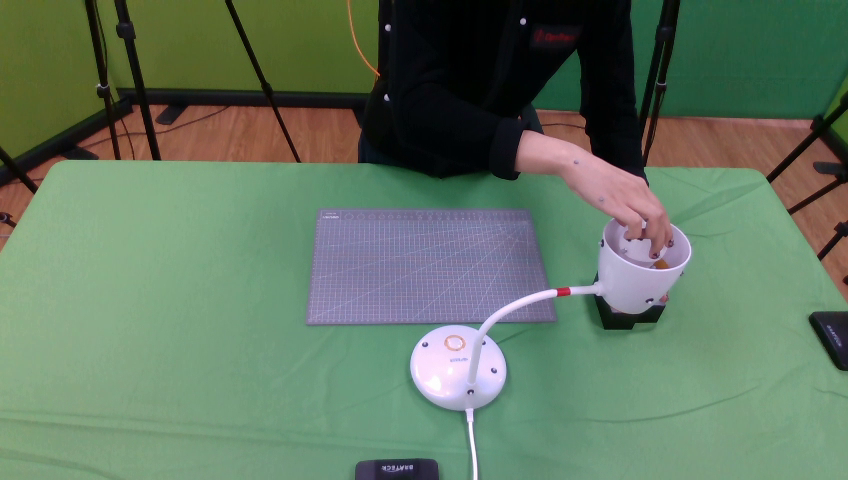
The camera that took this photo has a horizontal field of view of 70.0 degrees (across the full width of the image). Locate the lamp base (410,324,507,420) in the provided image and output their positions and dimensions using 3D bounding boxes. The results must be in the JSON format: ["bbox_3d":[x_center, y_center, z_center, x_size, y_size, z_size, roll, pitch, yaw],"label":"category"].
[{"bbox_3d":[0.064,0.163,0.937,0.161,0.181,0.178,-10,51,-13],"label":"lamp base"}]

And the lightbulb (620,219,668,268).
[{"bbox_3d":[0.287,0.021,0.806,0.059,0.108,0.059,0,38,0],"label":"lightbulb"}]

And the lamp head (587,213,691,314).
[{"bbox_3d":[0.281,0.042,0.818,0.112,0.123,0.111,6,41,-5],"label":"lamp head"}]
